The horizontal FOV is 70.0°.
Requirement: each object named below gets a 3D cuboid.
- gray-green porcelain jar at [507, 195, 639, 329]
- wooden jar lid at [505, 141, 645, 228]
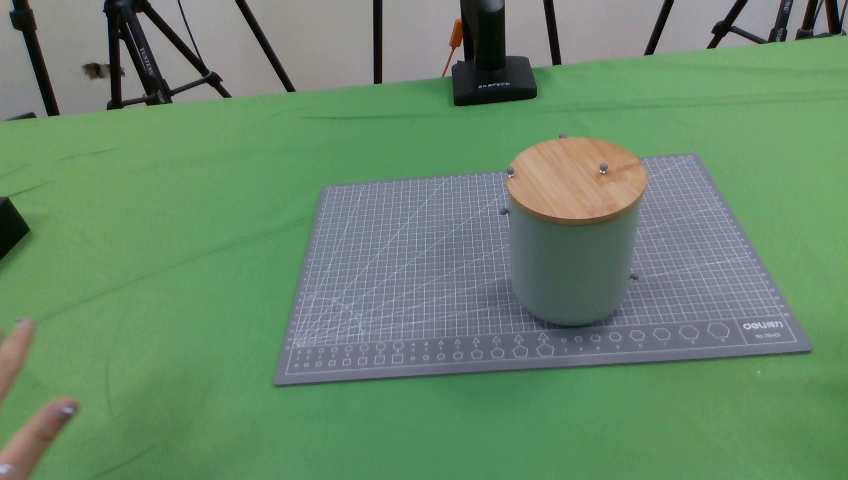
[{"bbox_3d":[0.126,0.005,0.525,0.106,0.128,0.105,-5,40,5],"label":"gray-green porcelain jar"},{"bbox_3d":[0.119,-0.042,0.485,0.108,0.021,0.107,-6,41,5],"label":"wooden jar lid"}]
